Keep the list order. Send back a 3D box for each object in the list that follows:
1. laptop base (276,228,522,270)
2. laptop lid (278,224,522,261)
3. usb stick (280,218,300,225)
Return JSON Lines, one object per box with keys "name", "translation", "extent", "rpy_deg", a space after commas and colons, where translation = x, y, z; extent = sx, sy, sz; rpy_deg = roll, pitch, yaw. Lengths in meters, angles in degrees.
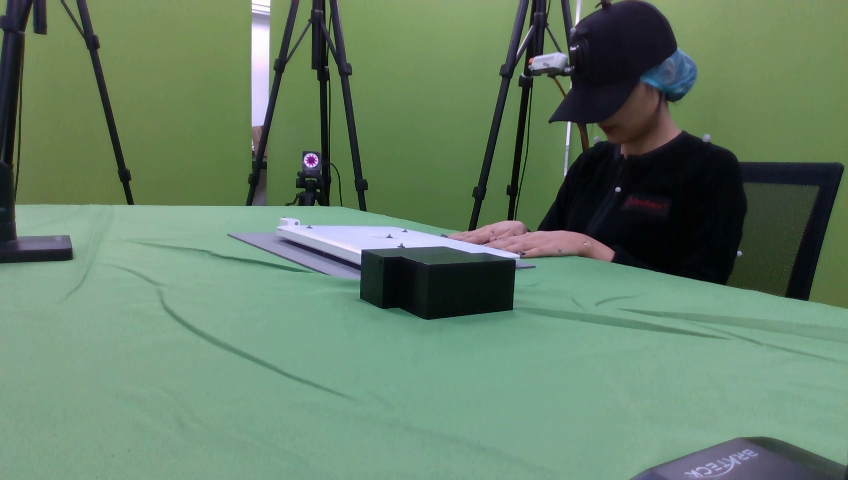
{"name": "laptop base", "translation": [-0.054, 0.011, 0.910], "extent": [0.237, 0.023, 0.352], "rpy_deg": [1, 6, -33]}
{"name": "laptop lid", "translation": [-0.052, -0.001, 0.909], "extent": [0.243, 0.013, 0.355], "rpy_deg": [0, 7, -32]}
{"name": "usb stick", "translation": [-0.225, -0.023, 1.024], "extent": [0.021, 0.027, 0.059], "rpy_deg": [0, 9, -31]}
